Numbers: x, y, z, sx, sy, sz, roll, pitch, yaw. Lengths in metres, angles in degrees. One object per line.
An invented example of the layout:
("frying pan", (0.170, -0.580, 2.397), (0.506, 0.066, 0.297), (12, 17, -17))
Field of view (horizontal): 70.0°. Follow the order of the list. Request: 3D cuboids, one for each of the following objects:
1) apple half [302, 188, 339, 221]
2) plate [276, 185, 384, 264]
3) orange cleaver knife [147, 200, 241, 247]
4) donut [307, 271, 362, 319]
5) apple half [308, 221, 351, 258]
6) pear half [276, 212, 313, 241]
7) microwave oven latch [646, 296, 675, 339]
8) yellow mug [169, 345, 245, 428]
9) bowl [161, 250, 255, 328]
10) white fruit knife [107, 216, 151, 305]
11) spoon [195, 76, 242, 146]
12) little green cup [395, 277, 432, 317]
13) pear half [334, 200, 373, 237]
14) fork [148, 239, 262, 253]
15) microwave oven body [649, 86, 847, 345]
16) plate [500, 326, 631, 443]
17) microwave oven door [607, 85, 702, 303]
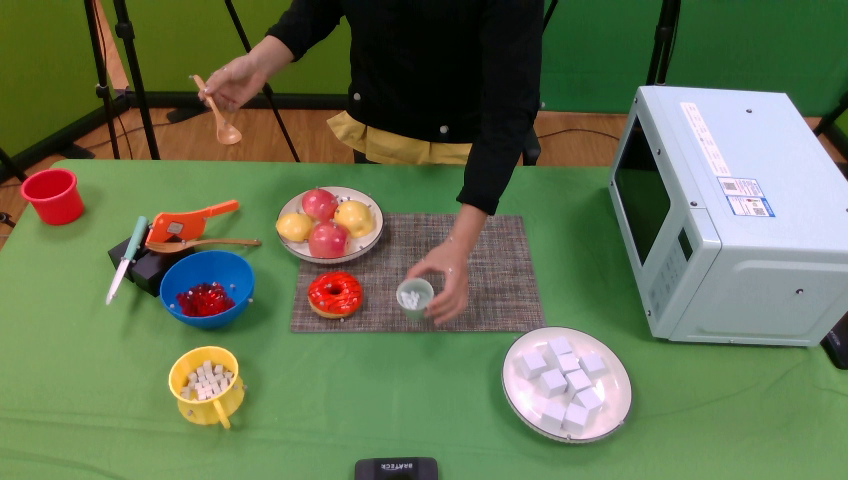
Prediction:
("apple half", (-0.205, -0.076, 1.217), (0.081, 0.033, 0.081), (18, 46, -19))
("plate", (-0.184, -0.027, 1.195), (0.209, 0.038, 0.208), (2, 46, -2))
("orange cleaver knife", (-0.435, -0.033, 1.157), (0.012, 0.077, 0.211), (31, 26, 19))
("donut", (-0.157, 0.097, 1.073), (0.099, 0.048, 0.098), (4, 45, -4))
("apple half", (-0.180, -0.005, 1.150), (0.074, 0.053, 0.080), (14, 43, 9))
("pear half", (-0.244, -0.035, 1.178), (0.070, 0.031, 0.088), (40, 41, 1))
("microwave oven latch", (0.412, 0.134, 1.061), (0.030, 0.029, 0.078), (4, 45, 1))
("yellow mug", (-0.322, 0.230, 0.922), (0.100, 0.064, 0.130), (-24, 53, -25))
("bowl", (-0.362, 0.097, 1.040), (0.151, 0.077, 0.150), (2, 45, -2))
("white fruit knife", (-0.518, 0.032, 1.066), (0.027, 0.016, 0.206), (-18, 45, 19))
("spoon", (-0.391, -0.245, 1.137), (0.041, 0.022, 0.193), (-25, 69, -18))
("little green cup", (-0.017, 0.096, 1.007), (0.061, 0.039, 0.061), (-3, 52, 4))
("pear half", (-0.146, -0.059, 1.209), (0.076, 0.056, 0.109), (-17, 41, -25))
("fork", (-0.398, 0.008, 1.117), (0.208, 0.019, 0.028), (-5, 34, -37))
("microwave oven body", (0.568, -0.053, 1.118), (0.326, 0.261, 0.439), (2, 45, -1))
("plate", (0.224, 0.234, 0.978), (0.208, 0.039, 0.206), (2, 46, -2))
("microwave oven door", (0.423, -0.094, 1.140), (0.039, 0.245, 0.353), (2, 46, -1))
